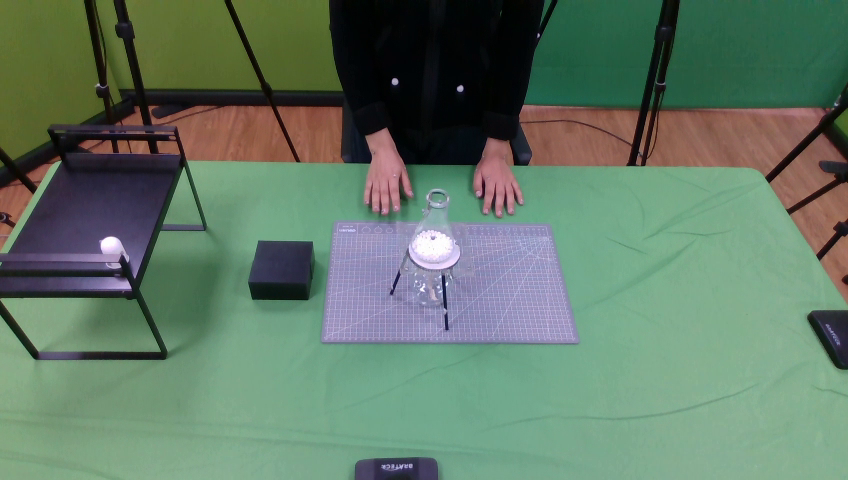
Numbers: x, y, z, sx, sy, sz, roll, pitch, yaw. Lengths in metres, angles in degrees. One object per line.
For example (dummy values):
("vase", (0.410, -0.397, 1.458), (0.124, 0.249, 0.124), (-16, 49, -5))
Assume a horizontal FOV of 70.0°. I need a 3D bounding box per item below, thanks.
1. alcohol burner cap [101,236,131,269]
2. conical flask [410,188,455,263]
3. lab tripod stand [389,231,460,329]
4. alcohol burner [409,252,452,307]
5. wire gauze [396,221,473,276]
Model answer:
("alcohol burner cap", (-0.452, 0.016, 0.883), (0.034, 0.048, 0.033), (2, 45, -2))
("conical flask", (0.017, -0.027, 0.971), (0.075, 0.122, 0.075), (2, 48, -3))
("lab tripod stand", (0.015, 0.063, 1.058), (0.148, 0.132, 0.147), (4, 46, -4))
("alcohol burner", (0.013, 0.063, 1.071), (0.078, 0.119, 0.077), (4, 45, -3))
("wire gauze", (0.016, 0.014, 1.014), (0.125, 0.011, 0.120), (-1, 45, -3))
